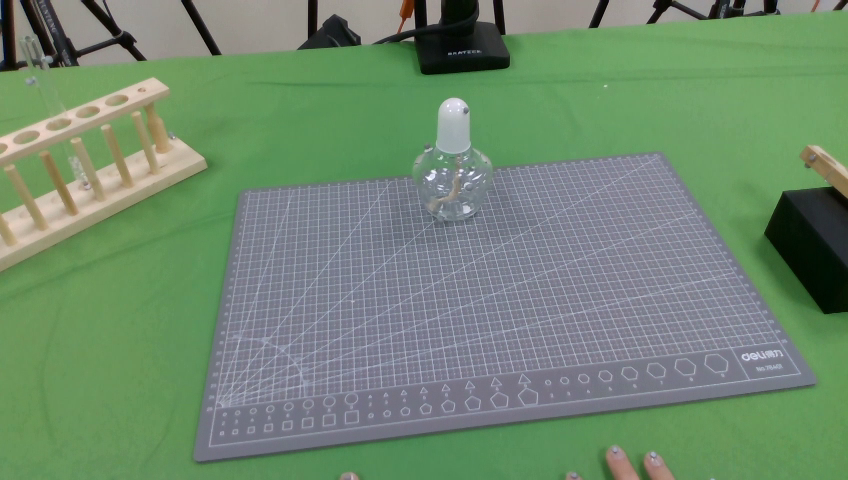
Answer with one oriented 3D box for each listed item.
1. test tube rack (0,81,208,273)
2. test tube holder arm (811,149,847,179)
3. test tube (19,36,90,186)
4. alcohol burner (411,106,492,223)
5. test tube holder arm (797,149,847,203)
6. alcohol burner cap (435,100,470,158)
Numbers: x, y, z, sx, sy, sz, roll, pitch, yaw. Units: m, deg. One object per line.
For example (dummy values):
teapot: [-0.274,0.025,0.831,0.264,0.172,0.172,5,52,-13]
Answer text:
test tube rack: [-0.344,-0.062,0.586,0.066,0.086,0.242,33,53,32]
test tube holder arm: [0.379,-0.021,0.498,0.013,0.015,0.176,-10,45,-14]
test tube: [-0.344,-0.116,0.571,0.017,0.151,0.017,1,38,0]
alcohol burner: [0.026,-0.074,0.562,0.078,0.120,0.077,0,45,0]
test tube holder arm: [0.361,-0.050,0.528,0.010,0.015,0.087,-9,44,-13]
alcohol burner cap: [0.026,-0.101,0.538,0.034,0.048,0.033,1,41,0]
